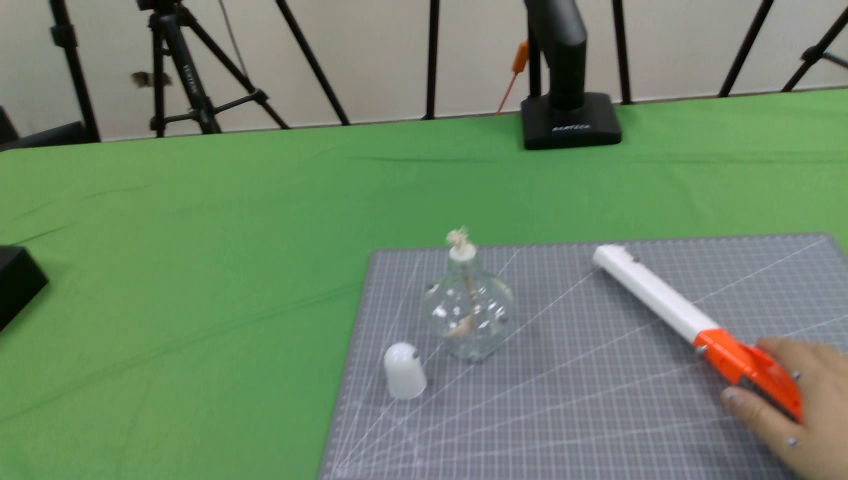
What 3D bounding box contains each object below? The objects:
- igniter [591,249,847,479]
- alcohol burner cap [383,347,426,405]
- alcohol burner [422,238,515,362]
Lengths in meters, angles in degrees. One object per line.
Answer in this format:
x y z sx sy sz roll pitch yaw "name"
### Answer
0.230 0.086 0.474 0.057 0.025 0.273 3 29 -32 "igniter"
-0.017 0.106 0.487 0.034 0.048 0.033 -5 39 5 "alcohol burner cap"
0.035 0.044 0.496 0.078 0.120 0.077 -4 40 4 "alcohol burner"
